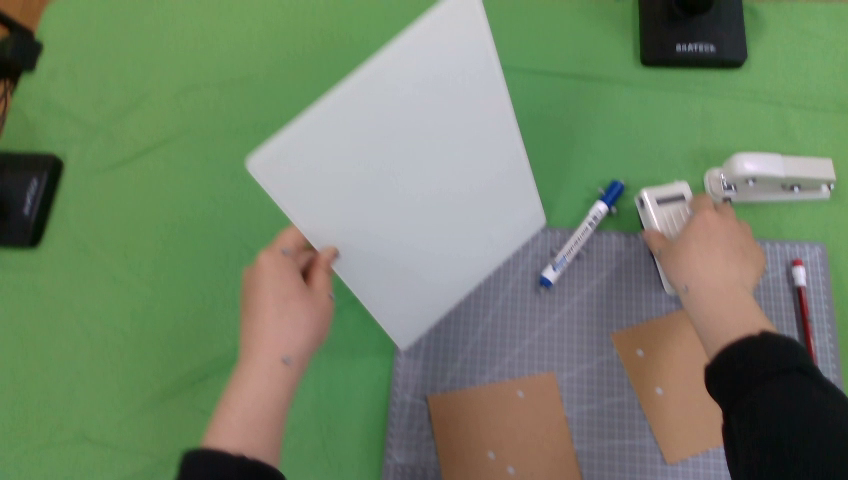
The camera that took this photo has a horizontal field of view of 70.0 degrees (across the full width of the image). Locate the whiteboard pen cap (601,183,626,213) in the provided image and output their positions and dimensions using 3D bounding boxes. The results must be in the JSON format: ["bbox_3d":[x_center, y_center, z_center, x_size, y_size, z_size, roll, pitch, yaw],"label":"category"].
[{"bbox_3d":[0.211,-0.046,0.676,0.018,0.018,0.033,33,75,16],"label":"whiteboard pen cap"}]

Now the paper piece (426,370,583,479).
[{"bbox_3d":[0.080,0.209,0.603,0.135,0.004,0.134,-12,69,1],"label":"paper piece"}]

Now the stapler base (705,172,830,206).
[{"bbox_3d":[0.381,-0.062,0.666,0.130,0.024,0.041,-2,73,3],"label":"stapler base"}]

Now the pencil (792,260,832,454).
[{"bbox_3d":[0.390,0.113,0.607,0.012,0.012,0.193,-1,72,5],"label":"pencil"}]

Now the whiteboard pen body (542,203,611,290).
[{"bbox_3d":[0.174,-0.003,0.665,0.017,0.017,0.140,36,76,16],"label":"whiteboard pen body"}]

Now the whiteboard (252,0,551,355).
[{"bbox_3d":[-0.026,-0.067,0.589,0.217,0.309,0.142,-39,51,-8],"label":"whiteboard"}]

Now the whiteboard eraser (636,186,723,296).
[{"bbox_3d":[0.268,0.001,0.641,0.055,0.042,0.112,-12,70,0],"label":"whiteboard eraser"}]

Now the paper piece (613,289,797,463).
[{"bbox_3d":[0.280,0.135,0.612,0.136,0.009,0.137,-19,72,3],"label":"paper piece"}]

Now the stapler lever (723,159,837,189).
[{"bbox_3d":[0.380,-0.070,0.644,0.118,0.040,0.026,-3,73,4],"label":"stapler lever"}]
